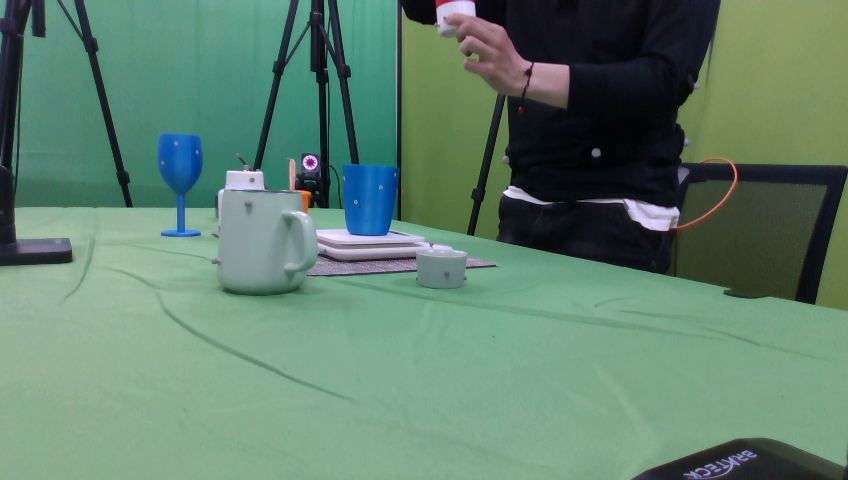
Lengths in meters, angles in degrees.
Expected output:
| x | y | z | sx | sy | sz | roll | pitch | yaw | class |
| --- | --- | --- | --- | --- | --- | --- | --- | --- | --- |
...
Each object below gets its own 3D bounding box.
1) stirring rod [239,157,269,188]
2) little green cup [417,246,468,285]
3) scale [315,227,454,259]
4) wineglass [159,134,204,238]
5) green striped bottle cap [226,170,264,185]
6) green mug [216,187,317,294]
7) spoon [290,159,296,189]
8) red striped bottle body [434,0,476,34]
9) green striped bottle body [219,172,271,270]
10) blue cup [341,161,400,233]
| x | y | z | sx | sy | sz | roll | pitch | yaw | class |
| --- | --- | --- | --- | --- | --- | --- | --- | --- | --- |
| -0.309 | -0.098 | 1.209 | 0.006 | 0.177 | 0.014 | -39 | 29 | -4 | stirring rod |
| 0.021 | 0.029 | 0.701 | 0.061 | 0.038 | 0.061 | 1 | 6 | 0 | little green cup |
| -0.066 | 0.001 | 0.906 | 0.202 | 0.031 | 0.148 | -2 | 8 | -31 | scale |
| -0.415 | -0.093 | 1.040 | 0.074 | 0.172 | 0.073 | 2 | 7 | 0 | wineglass |
| -0.222 | -0.076 | 0.748 | 0.044 | 0.020 | 0.044 | 0 | 7 | 0 | green striped bottle cap |
| -0.157 | 0.000 | 0.629 | 0.124 | 0.105 | 0.093 | 7 | 9 | 37 | green mug |
| -0.273 | -0.102 | 1.252 | 0.042 | 0.193 | 0.021 | 7 | -38 | -17 | spoon |
| 0.045 | -0.394 | 0.958 | 0.063 | 0.119 | 0.063 | -7 | 5 | 1 | red striped bottle body |
| -0.223 | -0.025 | 0.755 | 0.063 | 0.119 | 0.063 | 2 | 7 | 0 | green striped bottle body |
| -0.080 | -0.062 | 0.883 | 0.093 | 0.100 | 0.092 | 2 | 4 | 0 | blue cup |
